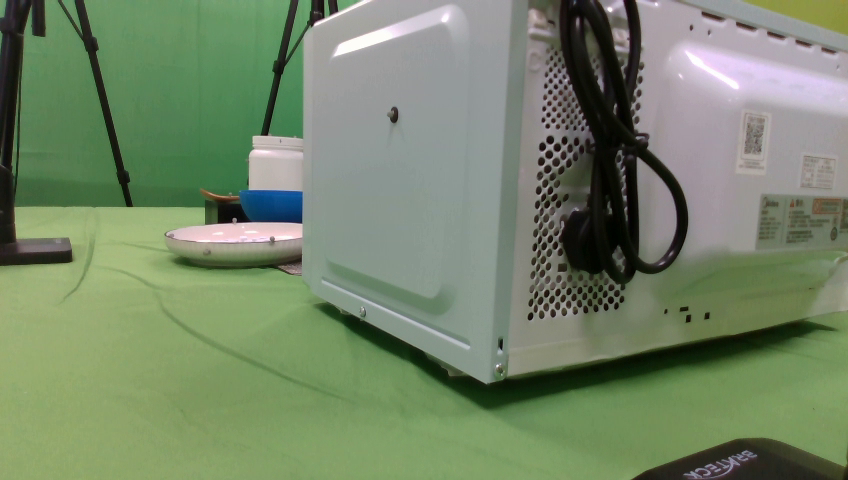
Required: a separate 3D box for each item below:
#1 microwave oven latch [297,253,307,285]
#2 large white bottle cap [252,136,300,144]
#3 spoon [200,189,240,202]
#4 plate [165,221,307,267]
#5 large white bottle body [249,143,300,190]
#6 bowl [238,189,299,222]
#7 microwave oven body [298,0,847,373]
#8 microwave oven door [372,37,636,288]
[{"bbox_3d":[-0.082,0.027,0.582,0.079,0.029,0.030,-1,7,-33],"label":"microwave oven latch"},{"bbox_3d":[-0.336,-0.228,1.391,0.115,0.018,0.115,2,7,0],"label":"large white bottle cap"},{"bbox_3d":[-0.339,-0.080,1.190,0.194,0.021,0.041,5,1,-19],"label":"spoon"},{"bbox_3d":[-0.241,0.004,0.829,0.209,0.038,0.209,0,9,0],"label":"plate"},{"bbox_3d":[-0.338,-0.144,1.401,0.131,0.184,0.130,2,7,0],"label":"large white bottle body"},{"bbox_3d":[-0.245,-0.045,1.053,0.151,0.077,0.151,3,7,0],"label":"bowl"},{"bbox_3d":[0.151,-0.055,0.543,0.444,0.260,0.324,-1,7,-33],"label":"microwave oven body"},{"bbox_3d":[0.110,-0.080,0.686,0.358,0.243,0.039,-2,9,-33],"label":"microwave oven door"}]
